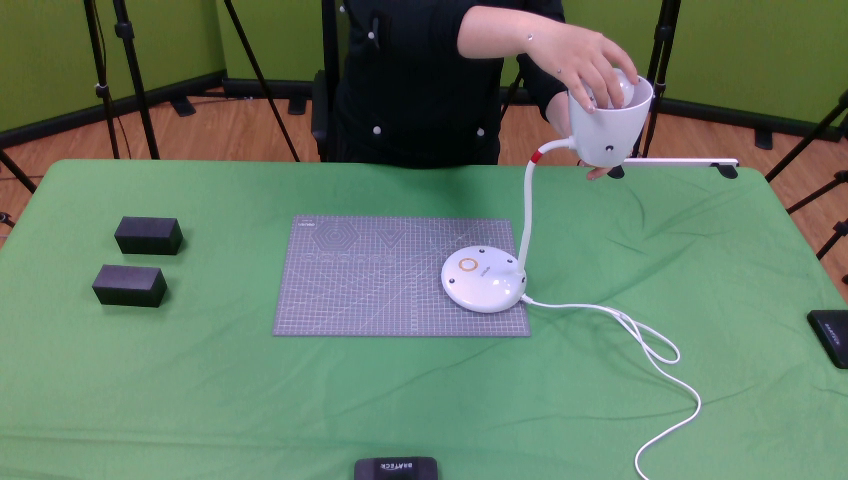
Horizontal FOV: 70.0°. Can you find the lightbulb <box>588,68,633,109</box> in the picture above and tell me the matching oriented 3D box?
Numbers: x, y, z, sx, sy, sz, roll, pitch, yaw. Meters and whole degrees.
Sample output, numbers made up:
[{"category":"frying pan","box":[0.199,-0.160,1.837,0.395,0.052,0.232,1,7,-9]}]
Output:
[{"category":"lightbulb","box":[0.258,-0.185,0.840,0.059,0.108,0.059,-7,34,5]}]

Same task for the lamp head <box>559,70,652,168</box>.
[{"category":"lamp head","box":[0.252,-0.164,0.860,0.112,0.123,0.111,0,42,0]}]

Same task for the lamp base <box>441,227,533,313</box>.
[{"category":"lamp base","box":[0.126,0.022,1.071,0.179,0.181,0.160,23,49,14]}]
